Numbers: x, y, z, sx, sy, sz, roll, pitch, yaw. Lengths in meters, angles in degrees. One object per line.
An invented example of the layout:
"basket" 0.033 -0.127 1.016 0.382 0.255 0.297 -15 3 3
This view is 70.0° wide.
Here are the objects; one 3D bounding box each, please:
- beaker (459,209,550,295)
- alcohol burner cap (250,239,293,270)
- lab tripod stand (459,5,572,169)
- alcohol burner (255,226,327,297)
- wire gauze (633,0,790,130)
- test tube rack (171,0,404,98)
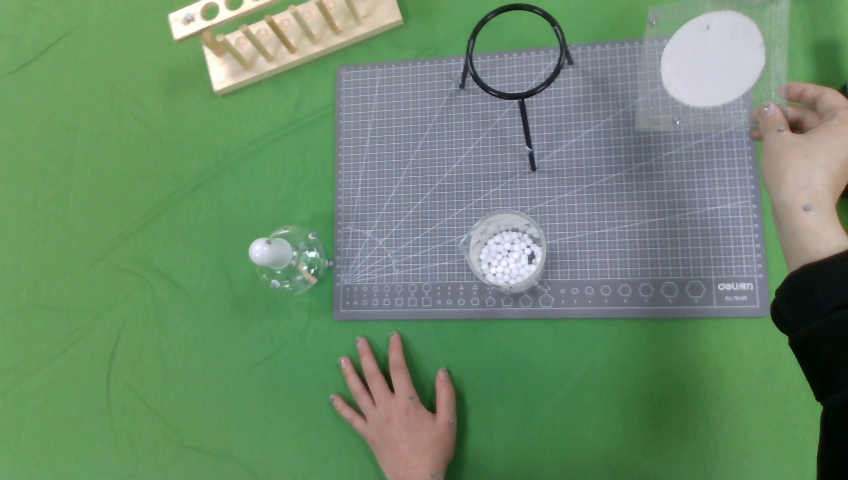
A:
"beaker" 0.083 0.016 0.601 0.084 0.101 0.074 4 81 13
"alcohol burner cap" -0.156 0.013 0.606 0.034 0.048 0.034 -1 85 10
"lab tripod stand" 0.097 -0.157 0.607 0.148 0.132 0.148 -1 82 9
"alcohol burner" -0.148 0.020 0.641 0.078 0.120 0.077 -2 79 10
"wire gauze" 0.248 -0.156 0.526 0.124 0.011 0.121 6 91 37
"test tube rack" -0.154 -0.250 0.697 0.242 0.085 0.066 -19 78 7
